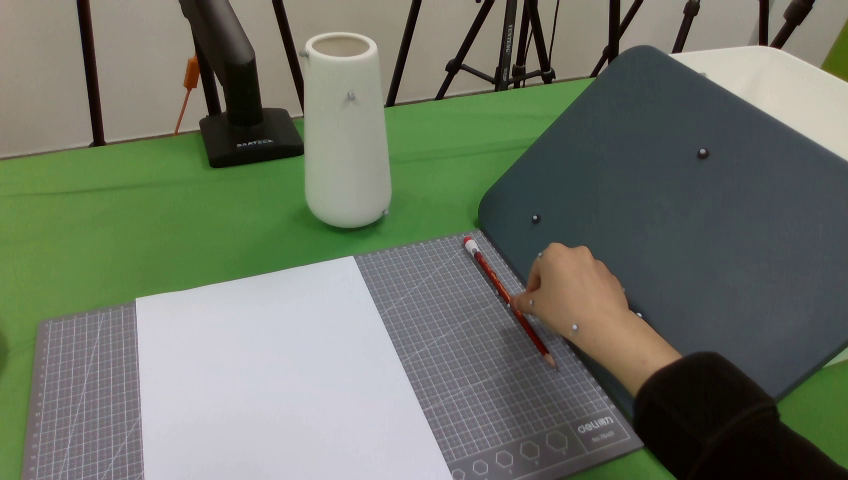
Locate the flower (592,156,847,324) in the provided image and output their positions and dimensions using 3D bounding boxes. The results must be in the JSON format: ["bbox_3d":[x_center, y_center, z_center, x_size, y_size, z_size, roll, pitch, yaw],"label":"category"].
[{"bbox_3d":[0.339,0.004,0.681,0.358,0.038,0.044,40,15,29],"label":"flower"}]

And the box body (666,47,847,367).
[{"bbox_3d":[0.375,-0.056,0.647,0.255,0.162,0.359,-12,41,-18],"label":"box body"}]

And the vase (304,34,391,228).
[{"bbox_3d":[-0.085,-0.111,0.648,0.098,0.201,0.097,1,38,-1],"label":"vase"}]

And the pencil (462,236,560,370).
[{"bbox_3d":[0.083,0.056,0.601,0.012,0.012,0.191,-13,43,-19],"label":"pencil"}]

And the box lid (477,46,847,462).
[{"bbox_3d":[0.214,-0.015,0.559,0.015,0.263,0.367,31,18,-42],"label":"box lid"}]
